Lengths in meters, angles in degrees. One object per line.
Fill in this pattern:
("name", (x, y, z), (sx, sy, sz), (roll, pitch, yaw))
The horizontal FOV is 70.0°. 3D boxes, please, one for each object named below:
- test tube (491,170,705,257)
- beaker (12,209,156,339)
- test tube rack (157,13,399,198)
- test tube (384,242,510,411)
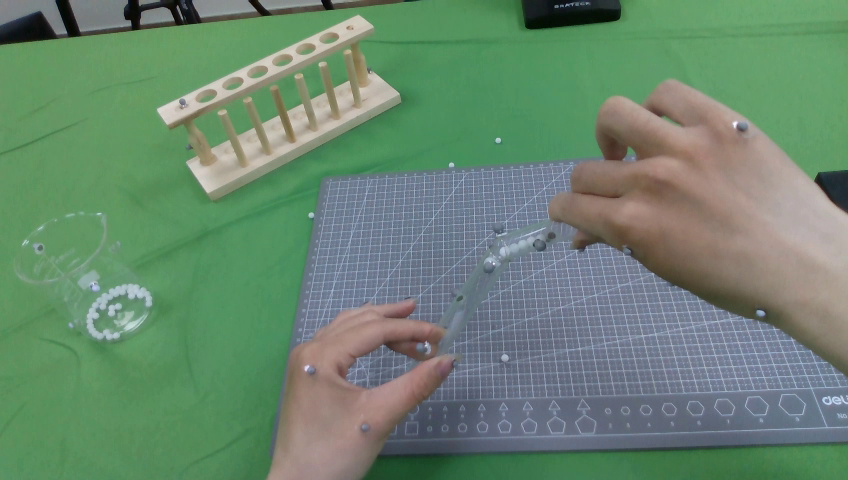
("test tube", (0.109, -0.018, 0.368), (0.150, 0.017, 0.017), (-17, 50, -17))
("beaker", (-0.285, 0.031, 0.525), (0.073, 0.101, 0.083), (19, 55, 22))
("test tube rack", (-0.150, -0.150, 0.663), (0.242, 0.086, 0.066), (-32, 53, -17))
("test tube", (0.010, 0.060, 0.386), (0.017, 0.151, 0.017), (23, 31, -14))
